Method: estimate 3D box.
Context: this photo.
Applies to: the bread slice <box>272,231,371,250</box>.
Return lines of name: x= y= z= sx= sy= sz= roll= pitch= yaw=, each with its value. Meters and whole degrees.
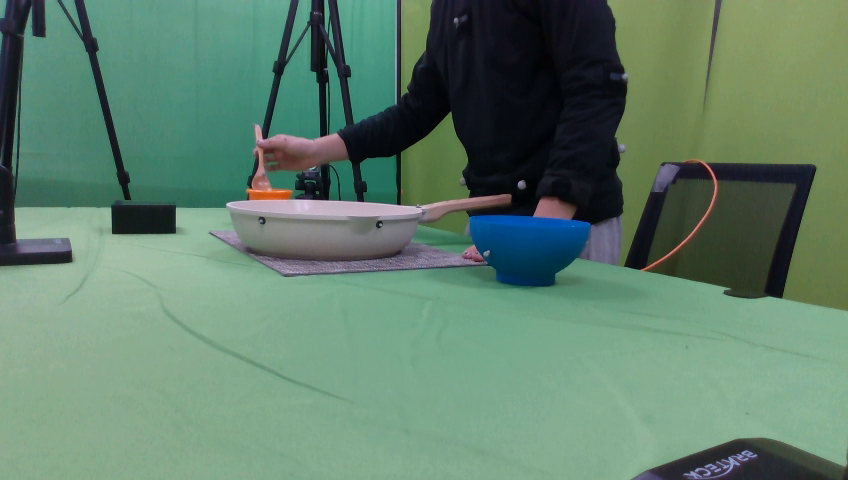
bread slice: x=-0.148 y=0.001 z=0.929 sx=0.133 sy=0.018 sz=0.107 roll=5 pitch=8 yaw=38

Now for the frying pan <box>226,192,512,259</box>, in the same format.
frying pan: x=-0.058 y=-0.041 z=0.974 sx=0.490 sy=0.102 sz=0.305 roll=-11 pitch=13 yaw=-26

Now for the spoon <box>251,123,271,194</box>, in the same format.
spoon: x=-0.344 y=-0.173 z=1.269 sx=0.042 sy=0.193 sz=0.021 roll=10 pitch=-34 yaw=-32

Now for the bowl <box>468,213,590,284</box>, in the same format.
bowl: x=0.128 y=0.011 z=0.755 sx=0.151 sy=0.077 sz=0.151 roll=2 pitch=7 yaw=0
